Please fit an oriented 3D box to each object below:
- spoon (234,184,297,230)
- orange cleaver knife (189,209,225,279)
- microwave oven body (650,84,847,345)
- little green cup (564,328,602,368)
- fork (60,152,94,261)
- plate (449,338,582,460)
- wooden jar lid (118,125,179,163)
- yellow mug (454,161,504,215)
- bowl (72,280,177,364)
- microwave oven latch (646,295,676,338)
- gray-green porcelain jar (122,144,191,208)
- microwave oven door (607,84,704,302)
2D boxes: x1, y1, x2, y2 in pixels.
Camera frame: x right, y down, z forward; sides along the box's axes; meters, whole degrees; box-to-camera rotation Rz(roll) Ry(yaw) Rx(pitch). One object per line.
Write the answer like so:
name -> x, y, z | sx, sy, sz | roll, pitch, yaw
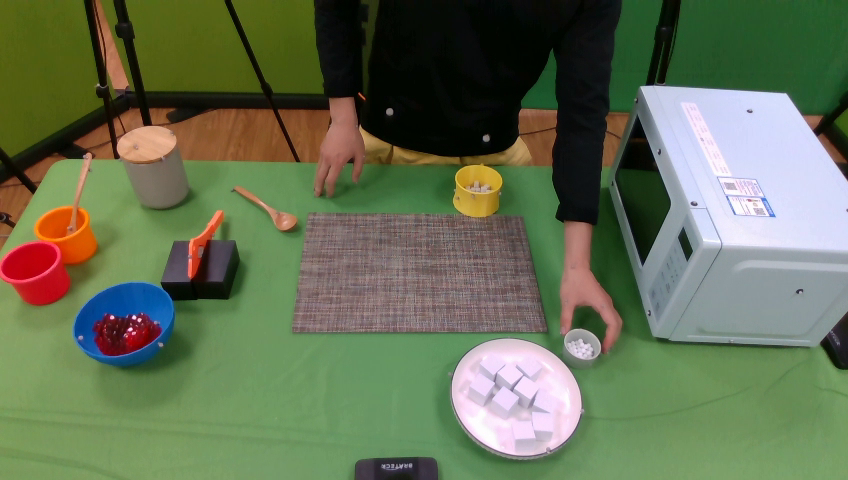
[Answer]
spoon -> -0.327, -0.073, 1.239 | 0.193, 0.022, 0.041 | 34, 70, 25
orange cleaver knife -> -0.400, 0.002, 1.122 | 0.012, 0.077, 0.210 | 4, 23, -4
microwave oven body -> 0.569, -0.054, 1.116 | 0.326, 0.261, 0.439 | 2, 46, -1
little green cup -> 0.266, 0.185, 1.025 | 0.061, 0.039, 0.061 | 4, 42, -3
fork -> -0.638, -0.063, 1.120 | 0.028, 0.018, 0.207 | 12, 90, 6
plate -> 0.141, 0.251, 0.956 | 0.208, 0.039, 0.206 | 2, 46, -2
wooden jar lid -> -0.528, -0.181, 1.167 | 0.108, 0.021, 0.107 | 4, 48, -4
yellow mug -> 0.117, -0.119, 1.283 | 0.100, 0.064, 0.130 | 9, 43, 5
bowl -> -0.473, 0.147, 0.982 | 0.151, 0.077, 0.150 | 2, 46, -2
microwave oven latch -> 0.412, 0.133, 1.060 | 0.030, 0.029, 0.078 | 3, 46, 0
gray-green porcelain jar -> -0.531, -0.137, 1.213 | 0.106, 0.127, 0.105 | 2, 47, -2
microwave oven door -> 0.424, -0.096, 1.138 | 0.039, 0.245, 0.353 | 2, 47, -1
